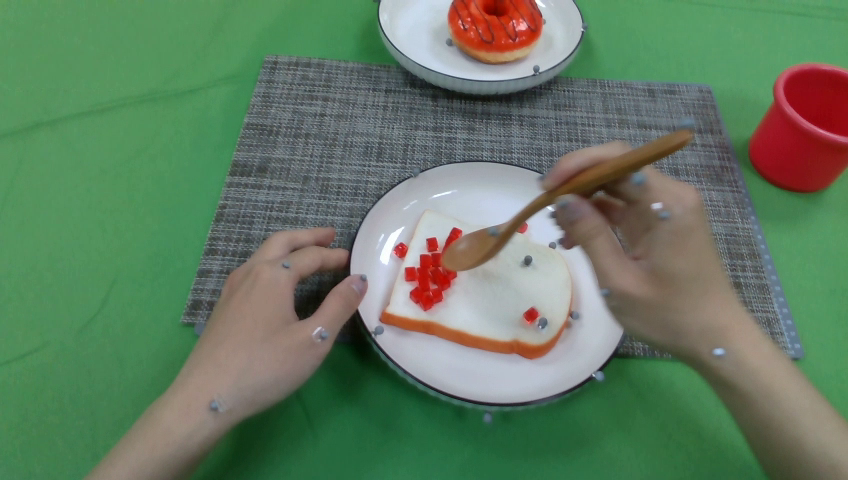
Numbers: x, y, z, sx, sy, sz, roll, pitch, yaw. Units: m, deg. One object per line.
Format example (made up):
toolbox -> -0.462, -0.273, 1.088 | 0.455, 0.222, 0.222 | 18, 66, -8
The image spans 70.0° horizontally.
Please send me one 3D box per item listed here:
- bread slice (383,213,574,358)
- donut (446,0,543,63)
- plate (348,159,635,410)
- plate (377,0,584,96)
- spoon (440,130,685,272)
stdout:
bread slice -> 0.046, 0.032, 0.454 | 0.131, 0.019, 0.104 | 13, 56, 9
donut -> 0.071, -0.218, 0.611 | 0.099, 0.048, 0.098 | 2, 56, -3
plate -> 0.048, 0.028, 0.453 | 0.209, 0.038, 0.207 | 1, 56, -2
plate -> 0.056, -0.213, 0.621 | 0.208, 0.039, 0.205 | 2, 54, -2
spoon -> 0.067, -0.018, 0.355 | 0.022, 0.194, 0.041 | 43, 55, -8
